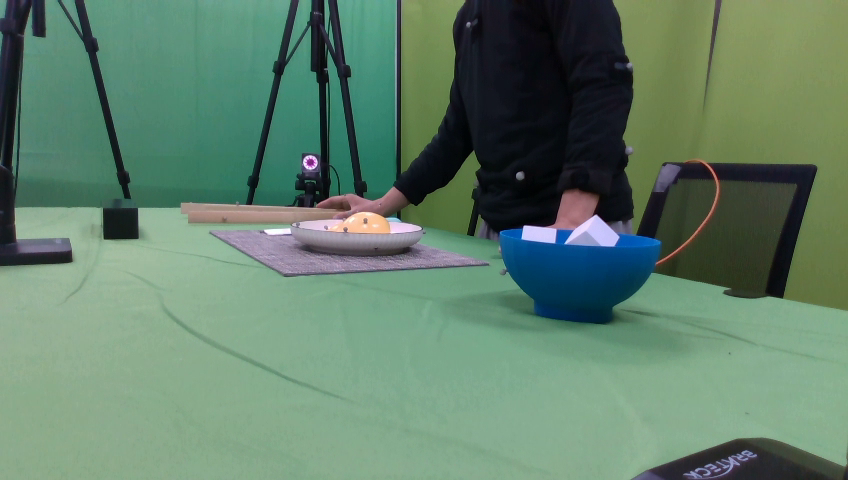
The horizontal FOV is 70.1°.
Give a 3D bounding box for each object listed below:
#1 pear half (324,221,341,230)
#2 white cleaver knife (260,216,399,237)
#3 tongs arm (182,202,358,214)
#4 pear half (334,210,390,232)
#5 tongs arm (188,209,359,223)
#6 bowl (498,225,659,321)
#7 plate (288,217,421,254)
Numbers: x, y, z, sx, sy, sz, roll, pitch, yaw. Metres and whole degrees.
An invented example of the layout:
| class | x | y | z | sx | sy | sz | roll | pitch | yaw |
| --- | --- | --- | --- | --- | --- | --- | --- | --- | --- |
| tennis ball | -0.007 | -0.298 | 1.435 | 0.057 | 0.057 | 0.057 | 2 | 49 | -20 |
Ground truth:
| class | x | y | z | sx | sy | sz | roll | pitch | yaw |
| --- | --- | --- | --- | --- | --- | --- | --- | --- | --- |
| pear half | -0.126 | -0.019 | 1.001 | 0.088 | 0.031 | 0.070 | 8 | 3 | 2 |
| white cleaver knife | -0.169 | -0.021 | 1.156 | 0.288 | 0.021 | 0.065 | -7 | 21 | -33 |
| tongs arm | -0.341 | -0.065 | 1.371 | 0.387 | 0.026 | 0.050 | 0 | 7 | -24 |
| pear half | -0.108 | -0.016 | 0.920 | 0.110 | 0.056 | 0.076 | -4 | 5 | -20 |
| tongs arm | -0.306 | -0.053 | 1.304 | 0.390 | 0.028 | 0.028 | -2 | 5 | -35 |
| bowl | 0.145 | 0.032 | 0.585 | 0.151 | 0.077 | 0.151 | 2 | 7 | 0 |
| plate | -0.109 | -0.007 | 0.956 | 0.208 | 0.039 | 0.207 | 2 | 7 | 0 |
